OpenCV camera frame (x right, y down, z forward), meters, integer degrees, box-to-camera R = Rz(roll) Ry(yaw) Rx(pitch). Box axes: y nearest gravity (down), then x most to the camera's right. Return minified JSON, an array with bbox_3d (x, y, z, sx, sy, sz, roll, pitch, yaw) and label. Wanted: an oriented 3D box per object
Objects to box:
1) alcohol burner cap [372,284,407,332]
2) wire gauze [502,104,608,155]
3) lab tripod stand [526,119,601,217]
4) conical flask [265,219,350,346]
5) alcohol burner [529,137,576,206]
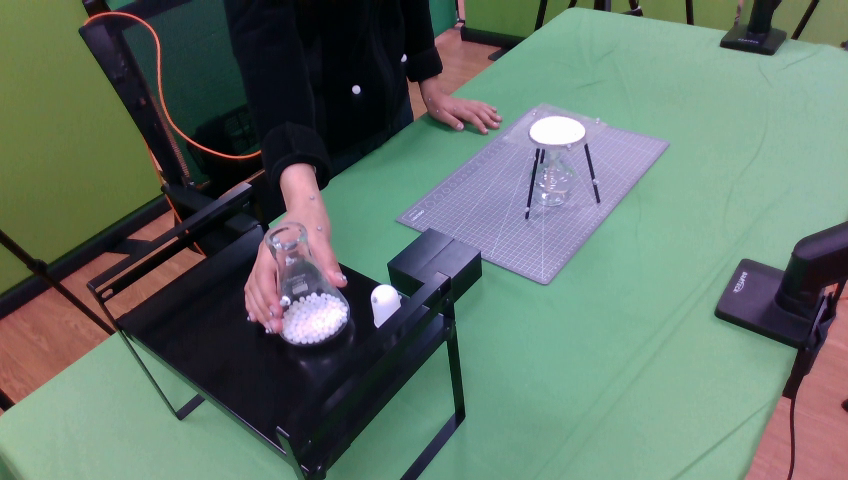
[{"bbox_3d":[-0.036,0.066,0.608,0.034,0.048,0.033,-5,41,5],"label":"alcohol burner cap"},{"bbox_3d":[0.207,-0.173,0.953,0.120,0.011,0.125,24,48,31],"label":"wire gauze"},{"bbox_3d":[0.221,-0.122,0.995,0.148,0.132,0.147,-3,39,3],"label":"lab tripod stand"},{"bbox_3d":[-0.119,0.038,0.585,0.075,0.122,0.075,-5,39,4],"label":"conical flask"},{"bbox_3d":[0.214,-0.117,1.006,0.078,0.119,0.077,-4,38,4],"label":"alcohol burner"}]
